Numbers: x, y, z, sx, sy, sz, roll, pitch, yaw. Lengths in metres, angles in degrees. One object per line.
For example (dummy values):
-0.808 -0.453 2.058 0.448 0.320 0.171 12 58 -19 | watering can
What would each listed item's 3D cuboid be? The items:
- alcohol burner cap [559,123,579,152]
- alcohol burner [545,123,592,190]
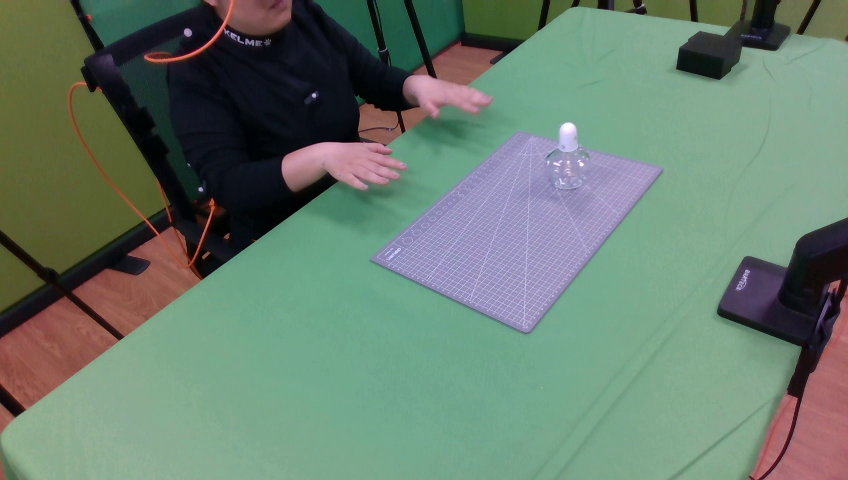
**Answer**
0.241 -0.173 1.010 0.034 0.048 0.033 -8 44 8 | alcohol burner cap
0.247 -0.147 1.034 0.078 0.120 0.077 -7 41 6 | alcohol burner
